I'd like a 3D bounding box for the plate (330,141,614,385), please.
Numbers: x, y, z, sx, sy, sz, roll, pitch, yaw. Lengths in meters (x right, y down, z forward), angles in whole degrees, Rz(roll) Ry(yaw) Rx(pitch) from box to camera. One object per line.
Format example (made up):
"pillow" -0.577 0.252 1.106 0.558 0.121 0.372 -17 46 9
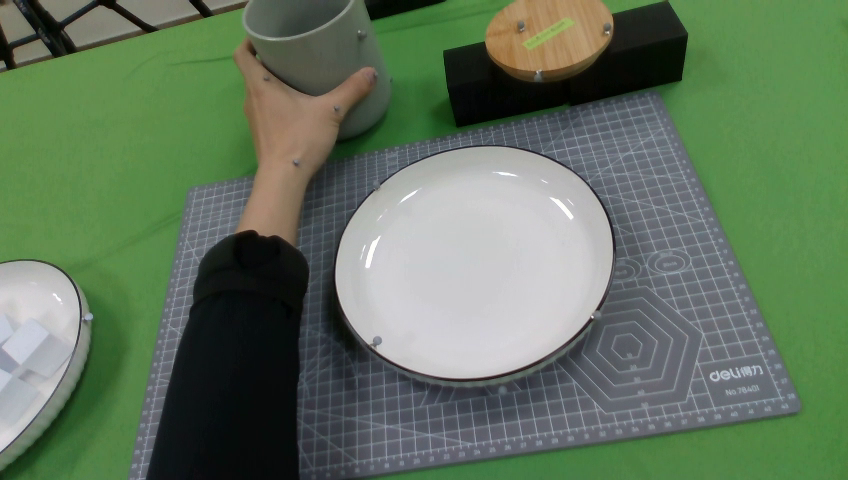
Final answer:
"plate" 0.034 0.013 0.455 0.209 0.038 0.207 -7 54 10

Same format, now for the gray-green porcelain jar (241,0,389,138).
"gray-green porcelain jar" -0.094 -0.168 0.566 0.106 0.128 0.105 -7 53 10

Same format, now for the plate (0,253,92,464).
"plate" -0.365 0.106 0.494 0.207 0.039 0.205 -7 54 10

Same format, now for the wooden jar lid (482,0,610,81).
"wooden jar lid" 0.105 -0.176 0.525 0.108 0.021 0.107 -6 55 9
